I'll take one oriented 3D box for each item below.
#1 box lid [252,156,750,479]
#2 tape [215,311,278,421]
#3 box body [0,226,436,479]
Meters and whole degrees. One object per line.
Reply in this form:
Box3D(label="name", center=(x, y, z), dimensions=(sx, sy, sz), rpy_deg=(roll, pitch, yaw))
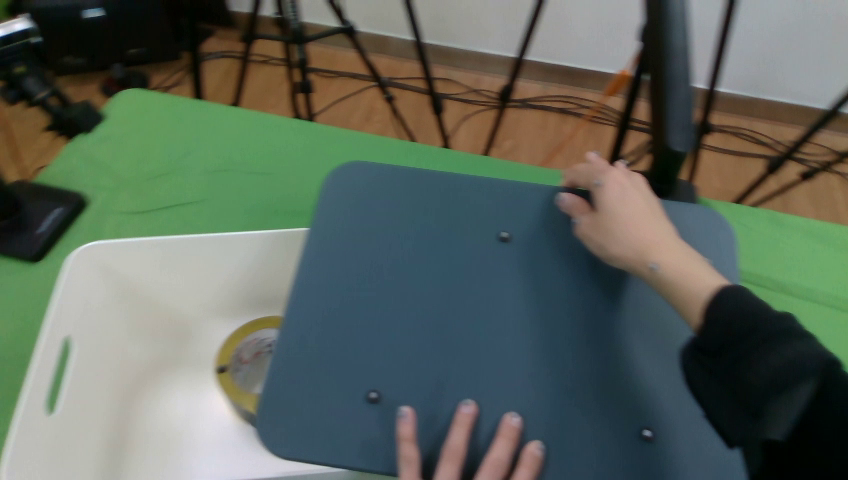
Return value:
Box3D(label="box lid", center=(0.070, 0.063, 0.490), dimensions=(0.371, 0.015, 0.261), rpy_deg=(8, 64, 1))
Box3D(label="tape", center=(-0.164, 0.138, 0.660), dimensions=(0.117, 0.053, 0.115), rpy_deg=(1, 50, -1))
Box3D(label="box body", center=(-0.155, 0.133, 0.600), dimensions=(0.364, 0.162, 0.251), rpy_deg=(-4, 51, -5))
